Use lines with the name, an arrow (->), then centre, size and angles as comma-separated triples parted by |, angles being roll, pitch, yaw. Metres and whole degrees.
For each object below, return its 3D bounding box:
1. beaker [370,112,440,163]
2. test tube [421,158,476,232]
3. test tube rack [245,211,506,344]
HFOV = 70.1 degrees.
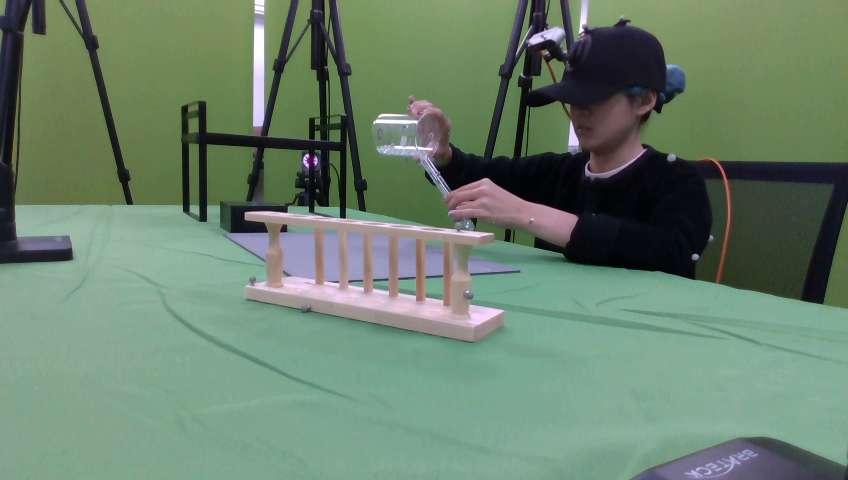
beaker -> -0.035, -0.176, 1.035 | 0.100, 0.084, 0.074 | 8, 6, 32
test tube -> 0.041, -0.075, 0.996 | 0.017, 0.150, 0.017 | -31, -15, -9
test tube rack -> -0.049, 0.025, 0.547 | 0.241, 0.085, 0.067 | 7, 8, 28
